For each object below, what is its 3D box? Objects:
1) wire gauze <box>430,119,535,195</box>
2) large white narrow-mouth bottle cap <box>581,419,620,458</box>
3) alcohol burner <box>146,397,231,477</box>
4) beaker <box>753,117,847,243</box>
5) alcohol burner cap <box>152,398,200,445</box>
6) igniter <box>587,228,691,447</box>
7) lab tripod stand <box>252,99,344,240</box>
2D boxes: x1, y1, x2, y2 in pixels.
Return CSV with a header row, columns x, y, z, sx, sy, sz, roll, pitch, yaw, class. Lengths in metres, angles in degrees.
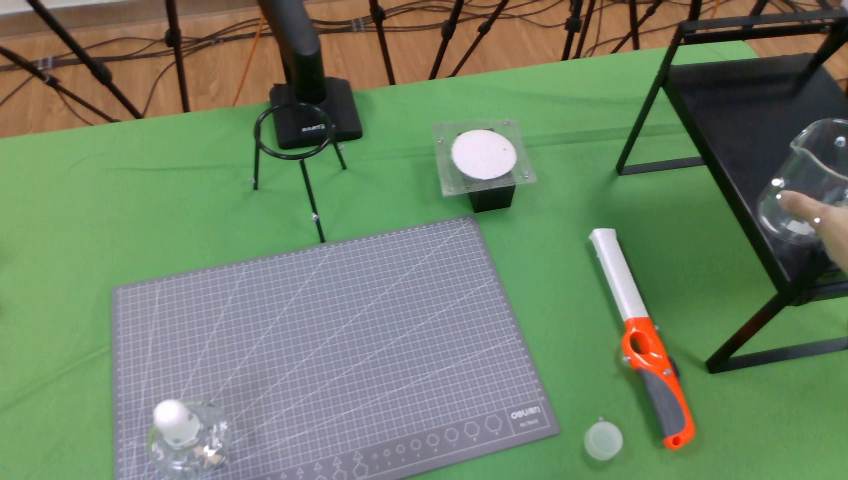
x,y,z,sx,sy,sz,roll,pitch,yaw,class
0.074,-0.114,0.793,0.121,0.011,0.124,-5,57,-6,wire gauze
0.185,0.209,0.639,0.038,0.024,0.037,2,56,-2,large white narrow-mouth bottle cap
-0.226,0.180,0.573,0.078,0.120,0.077,3,55,-3,alcohol burner
0.355,-0.051,0.555,0.084,0.101,0.073,12,55,6,beaker
-0.225,0.161,0.543,0.034,0.048,0.033,0,52,1,alcohol burner cap
0.248,0.102,0.708,0.057,0.025,0.273,-1,56,-16,igniter
-0.151,-0.092,0.749,0.148,0.132,0.147,3,57,-4,lab tripod stand
